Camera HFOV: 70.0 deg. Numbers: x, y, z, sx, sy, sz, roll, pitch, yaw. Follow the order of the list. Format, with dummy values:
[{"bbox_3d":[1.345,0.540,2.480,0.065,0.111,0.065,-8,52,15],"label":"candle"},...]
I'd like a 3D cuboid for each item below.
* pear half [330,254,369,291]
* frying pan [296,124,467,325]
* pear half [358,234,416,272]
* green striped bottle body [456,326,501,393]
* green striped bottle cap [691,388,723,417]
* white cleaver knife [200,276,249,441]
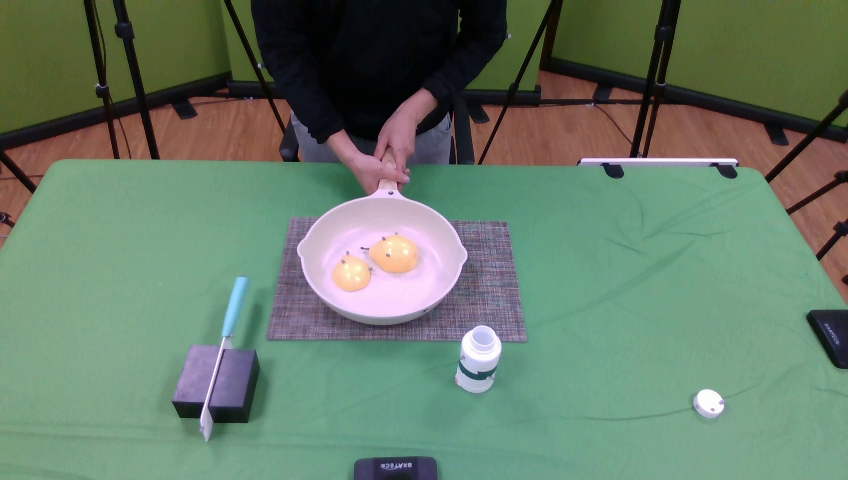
[{"bbox_3d":[-0.138,0.052,1.119,0.070,0.031,0.087,-7,52,-17],"label":"pear half"},{"bbox_3d":[-0.075,-0.047,1.168,0.307,0.103,0.485,4,56,-2],"label":"frying pan"},{"bbox_3d":[-0.073,0.015,1.143,0.110,0.056,0.076,9,42,7],"label":"pear half"},{"bbox_3d":[0.086,0.185,0.959,0.063,0.120,0.063,2,46,-2],"label":"green striped bottle body"},{"bbox_3d":[0.460,0.263,0.984,0.044,0.020,0.044,3,47,-3],"label":"green striped bottle cap"},{"bbox_3d":[-0.321,0.177,0.972,0.021,0.066,0.284,6,48,-4],"label":"white cleaver knife"}]
